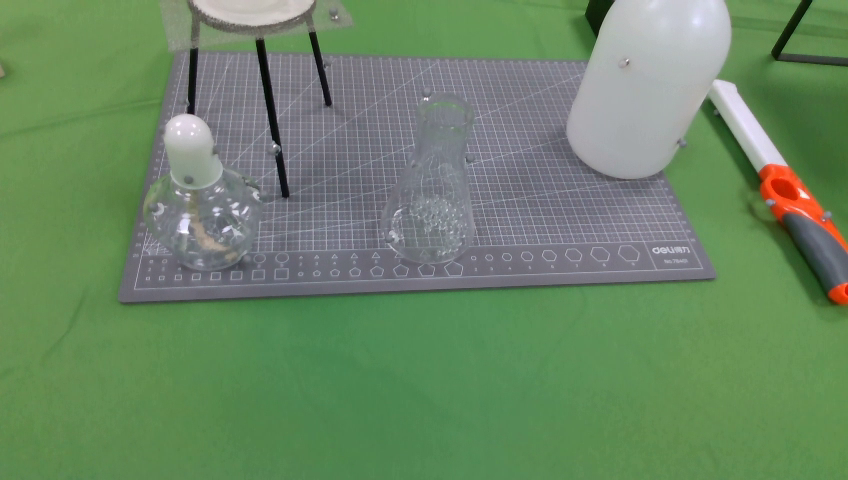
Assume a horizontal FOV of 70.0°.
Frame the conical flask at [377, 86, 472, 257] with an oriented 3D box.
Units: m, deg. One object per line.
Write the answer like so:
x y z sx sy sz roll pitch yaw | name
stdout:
0.006 -0.050 0.436 0.075 0.123 0.074 4 50 -5 | conical flask

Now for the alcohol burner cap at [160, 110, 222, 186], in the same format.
-0.148 -0.059 0.380 0.034 0.048 0.033 4 56 -5 | alcohol burner cap

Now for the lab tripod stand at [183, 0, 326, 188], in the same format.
-0.130 -0.136 0.479 0.149 0.132 0.147 5 51 -6 | lab tripod stand

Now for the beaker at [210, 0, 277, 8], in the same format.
-0.125 -0.212 0.393 0.084 0.101 0.073 -7 53 -13 | beaker

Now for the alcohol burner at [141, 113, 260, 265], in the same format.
-0.152 -0.038 0.409 0.078 0.120 0.077 5 49 -6 | alcohol burner

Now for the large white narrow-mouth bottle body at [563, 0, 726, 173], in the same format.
0.187 -0.155 0.502 0.102 0.196 0.101 4 50 -4 | large white narrow-mouth bottle body

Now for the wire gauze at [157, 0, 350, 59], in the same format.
-0.127 -0.179 0.430 0.122 0.011 0.124 -14 58 -17 | wire gauze

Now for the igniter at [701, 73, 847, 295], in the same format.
0.322 -0.064 0.559 0.057 0.025 0.273 6 49 -17 | igniter
